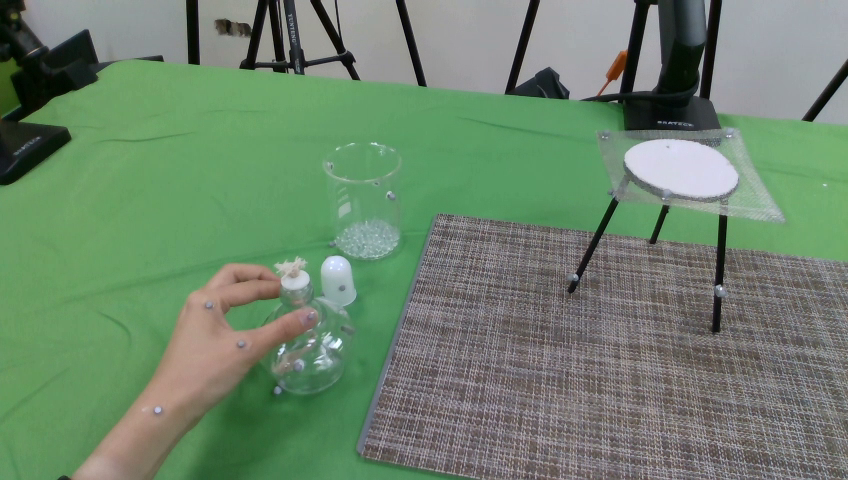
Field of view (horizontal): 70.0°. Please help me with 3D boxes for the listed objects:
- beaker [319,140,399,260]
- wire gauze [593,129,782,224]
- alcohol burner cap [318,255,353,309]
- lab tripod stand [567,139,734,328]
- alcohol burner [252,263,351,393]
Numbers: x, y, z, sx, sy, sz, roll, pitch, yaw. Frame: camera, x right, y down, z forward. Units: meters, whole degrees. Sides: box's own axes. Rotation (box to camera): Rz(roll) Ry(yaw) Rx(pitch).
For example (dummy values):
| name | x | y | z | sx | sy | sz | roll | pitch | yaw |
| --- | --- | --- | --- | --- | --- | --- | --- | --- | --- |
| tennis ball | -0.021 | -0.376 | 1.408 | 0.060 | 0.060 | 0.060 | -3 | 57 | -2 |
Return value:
| name | x | y | z | sx | sy | sz | roll | pitch | yaw |
| --- | --- | --- | --- | --- | --- | --- | --- | --- | --- |
| beaker | -0.059 | -0.038 | 0.600 | 0.073 | 0.101 | 0.083 | 18 | 42 | 19 |
| wire gauze | 0.204 | -0.058 | 0.485 | 0.125 | 0.011 | 0.120 | 5 | 40 | 4 |
| alcohol burner cap | -0.083 | 0.036 | 0.554 | 0.034 | 0.048 | 0.033 | 1 | 39 | 0 |
| lab tripod stand | 0.208 | -0.008 | 0.531 | 0.148 | 0.132 | 0.147 | 2 | 39 | -1 |
| alcohol burner | -0.095 | 0.062 | 0.464 | 0.078 | 0.120 | 0.077 | 1 | 41 | -1 |
